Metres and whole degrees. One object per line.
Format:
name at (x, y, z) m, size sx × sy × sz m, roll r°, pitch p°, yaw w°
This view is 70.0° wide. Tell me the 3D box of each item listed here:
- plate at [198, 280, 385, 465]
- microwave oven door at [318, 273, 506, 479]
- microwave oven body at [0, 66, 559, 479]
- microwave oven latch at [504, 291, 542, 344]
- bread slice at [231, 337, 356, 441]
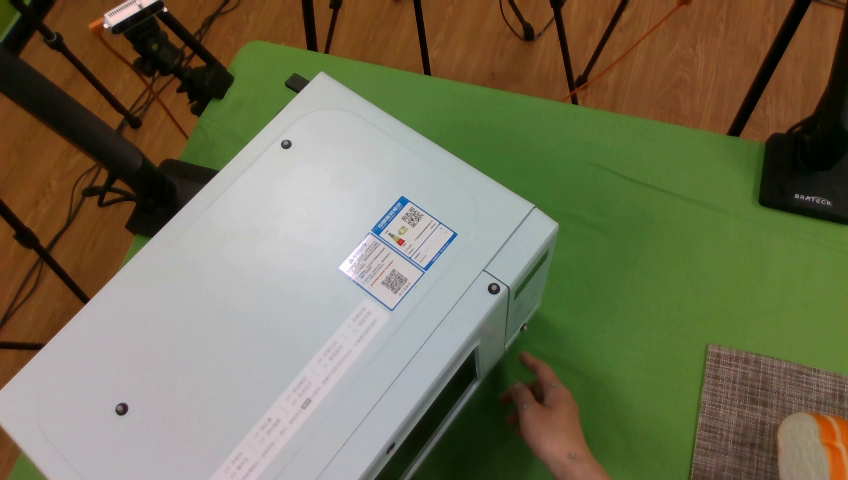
plate at (-0.146, 0.148, 0.687) m, size 0.208 × 0.039 × 0.206 m, roll 0°, pitch 64°, yaw 1°
microwave oven door at (-0.038, 0.207, 0.584) m, size 0.039 × 0.246 × 0.355 m, roll 35°, pitch 74°, yaw 19°
microwave oven body at (-0.125, 0.099, 0.645) m, size 0.324 × 0.262 × 0.441 m, roll 35°, pitch 75°, yaw 18°
microwave oven latch at (0.111, 0.087, 0.732) m, size 0.030 × 0.030 × 0.079 m, roll 37°, pitch 76°, yaw 18°
bread slice at (-0.148, 0.174, 0.683) m, size 0.134 × 0.018 × 0.106 m, roll -10°, pitch 64°, yaw -10°
